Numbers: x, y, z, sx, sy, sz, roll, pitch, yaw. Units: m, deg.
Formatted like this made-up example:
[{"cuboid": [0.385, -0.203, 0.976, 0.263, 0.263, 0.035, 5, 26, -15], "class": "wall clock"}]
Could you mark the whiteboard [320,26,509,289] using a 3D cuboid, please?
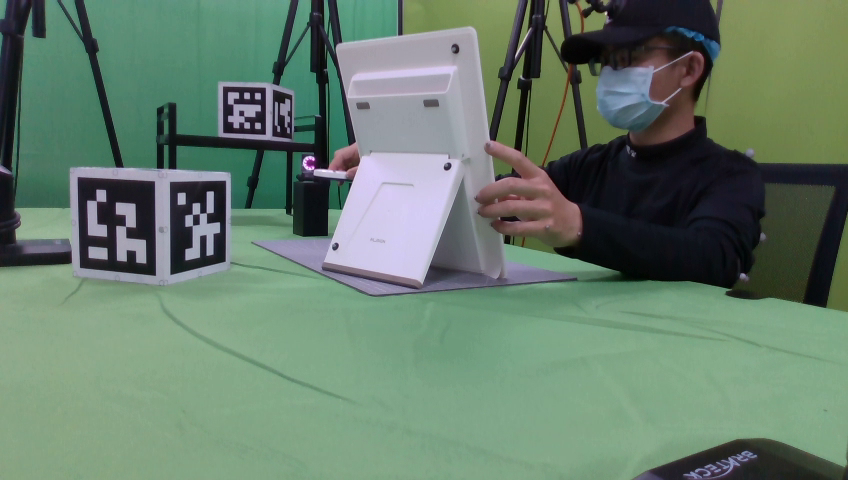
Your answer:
[{"cuboid": [-0.045, -0.076, 0.721, 0.216, 0.305, 0.144, 9, 29, 39], "class": "whiteboard"}]

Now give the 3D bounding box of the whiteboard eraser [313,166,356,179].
[{"cuboid": [-0.166, -0.130, 1.164, 0.102, 0.019, 0.041, 2, 10, -38], "class": "whiteboard eraser"}]
